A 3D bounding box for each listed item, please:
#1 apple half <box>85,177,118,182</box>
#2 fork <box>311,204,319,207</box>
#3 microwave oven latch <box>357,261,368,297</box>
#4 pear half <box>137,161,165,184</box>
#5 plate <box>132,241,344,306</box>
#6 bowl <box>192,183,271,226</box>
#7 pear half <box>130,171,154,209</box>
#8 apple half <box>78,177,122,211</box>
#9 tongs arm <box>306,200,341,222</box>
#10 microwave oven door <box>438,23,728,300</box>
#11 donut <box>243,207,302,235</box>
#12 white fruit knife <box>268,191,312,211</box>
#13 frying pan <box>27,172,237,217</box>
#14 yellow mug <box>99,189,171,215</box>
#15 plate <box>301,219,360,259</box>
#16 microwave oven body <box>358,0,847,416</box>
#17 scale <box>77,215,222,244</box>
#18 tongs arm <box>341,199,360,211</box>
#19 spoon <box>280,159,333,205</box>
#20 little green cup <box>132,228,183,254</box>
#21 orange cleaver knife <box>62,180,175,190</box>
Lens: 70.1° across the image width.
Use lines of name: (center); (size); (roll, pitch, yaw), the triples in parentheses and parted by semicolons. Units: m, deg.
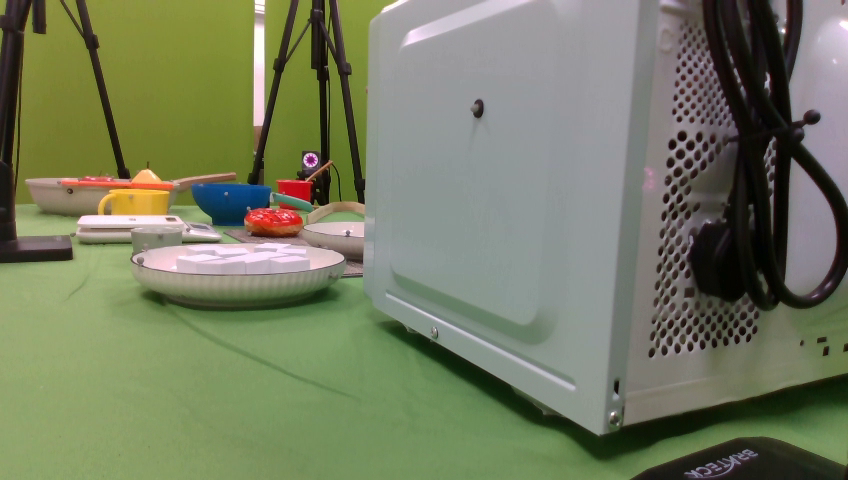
apple half: (-0.673, -0.096, 1.269); (0.082, 0.081, 0.032); (-4, 6, -40)
fork: (-0.356, -0.105, 1.526); (0.208, 0.018, 0.028); (16, -6, -41)
microwave oven latch: (-0.019, 0.033, 0.531); (0.079, 0.029, 0.030); (-1, 7, -27)
pear half: (-0.604, -0.120, 1.354); (0.056, 0.110, 0.076); (3, 11, 7)
plate: (-0.187, 0.033, 0.625); (0.208, 0.039, 0.207); (2, 7, 0)
bowl: (-0.382, -0.071, 1.202); (0.151, 0.077, 0.151); (3, 7, 0)
pear half: (-0.640, -0.113, 1.361); (0.031, 0.088, 0.070); (5, 10, 5)
apple half: (-0.698, -0.099, 1.298); (0.081, 0.074, 0.053); (-9, 9, -40)
tongs arm: (-0.234, -0.069, 1.414); (0.028, 0.028, 0.387); (-5, 8, 1)
microwave oven door: (0.181, -0.073, 0.621); (0.358, 0.243, 0.039); (-2, 8, -29)
donut: (-0.261, -0.032, 1.043); (0.099, 0.048, 0.099); (4, 9, 0)
white fruit knife: (-0.364, -0.105, 1.464); (0.208, 0.027, 0.016); (15, 0, -34)
frying pan: (-0.624, -0.118, 1.387); (0.305, 0.102, 0.490); (8, 17, 32)
yellow mug: (-0.518, -0.055, 1.080); (0.099, 0.064, 0.131); (6, 9, 26)
plate: (-0.077, -0.002, 0.893); (0.209, 0.038, 0.209); (3, 8, 0)
microwave oven body: (0.211, -0.047, 0.475); (0.444, 0.260, 0.324); (-1, 7, -28)
scale: (-0.434, -0.019, 0.963); (0.202, 0.031, 0.148); (-1, 9, -27)
tongs arm: (-0.149, -0.070, 1.429); (0.051, 0.026, 0.383); (-4, 9, -15)
spoon: (-0.316, -0.159, 1.640); (0.194, 0.022, 0.041); (-50, 32, -20)
little green cup: (-0.342, 0.006, 0.779); (0.061, 0.038, 0.061); (2, 8, 0)
orange cleaver knife: (-0.600, -0.110, 1.193); (0.212, 0.012, 0.077); (1, 8, -13)
